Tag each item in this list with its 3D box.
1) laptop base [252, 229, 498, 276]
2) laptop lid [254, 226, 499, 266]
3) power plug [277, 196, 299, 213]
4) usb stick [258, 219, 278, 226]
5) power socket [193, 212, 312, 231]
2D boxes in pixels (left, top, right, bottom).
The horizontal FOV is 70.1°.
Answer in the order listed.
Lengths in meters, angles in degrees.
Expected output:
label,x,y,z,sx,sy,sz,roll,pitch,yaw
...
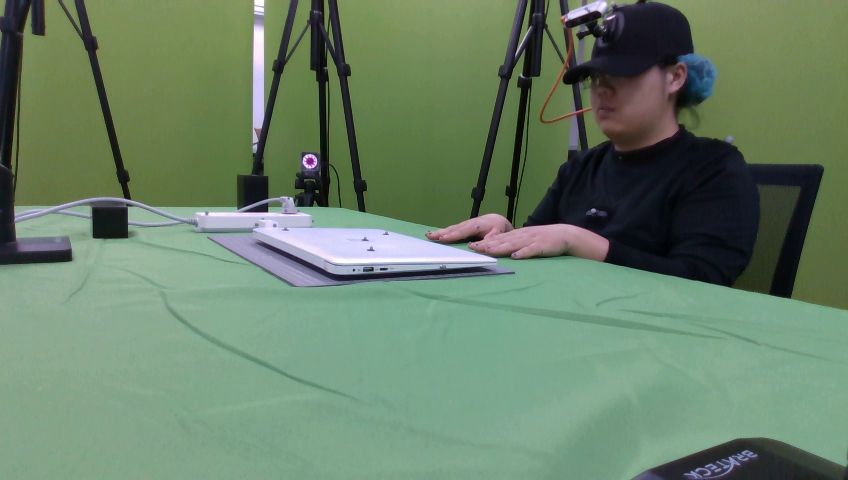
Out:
label,x,y,z,sx,sy,sz,roll,pitch,yaw
laptop base,-0.089,0.016,0.876,0.237,0.023,0.352,2,6,-32
laptop lid,-0.086,0.004,0.876,0.243,0.013,0.355,1,7,-30
power plug,-0.274,-0.062,1.217,0.035,0.052,0.072,0,5,-22
usb stick,-0.255,-0.019,0.996,0.021,0.027,0.059,-2,12,-29
power socket,-0.322,-0.037,1.153,0.228,0.032,0.072,-2,7,-33
